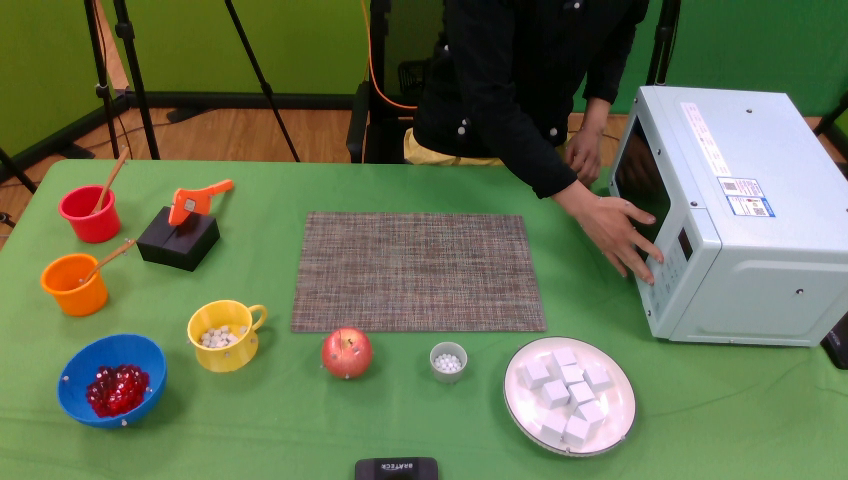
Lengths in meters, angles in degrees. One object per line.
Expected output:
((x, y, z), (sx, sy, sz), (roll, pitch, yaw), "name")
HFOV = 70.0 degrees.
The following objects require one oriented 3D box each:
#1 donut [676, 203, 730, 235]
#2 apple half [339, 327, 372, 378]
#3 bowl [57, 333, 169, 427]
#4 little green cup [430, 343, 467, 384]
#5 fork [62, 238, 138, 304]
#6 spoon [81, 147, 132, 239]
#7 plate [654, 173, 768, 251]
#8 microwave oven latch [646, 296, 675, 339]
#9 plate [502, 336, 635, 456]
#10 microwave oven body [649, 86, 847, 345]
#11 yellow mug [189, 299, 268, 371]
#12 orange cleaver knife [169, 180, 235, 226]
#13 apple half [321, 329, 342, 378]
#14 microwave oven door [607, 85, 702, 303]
((0.537, -0.042, 1.170), (0.099, 0.048, 0.098), (6, 23, -2), "donut")
((-0.111, 0.182, 0.980), (0.053, 0.075, 0.080), (-2, 42, -12), "apple half")
((-0.455, 0.223, 0.912), (0.151, 0.077, 0.150), (3, 45, -2), "bowl")
((0.039, 0.203, 0.993), (0.061, 0.039, 0.061), (2, 46, -2), "little green cup")
((-0.547, 0.053, 1.019), (0.207, 0.019, 0.028), (-36, 41, 23), "fork")
((-0.603, -0.089, 1.156), (0.041, 0.022, 0.193), (28, 95, 19), "spoon")
((0.555, -0.050, 1.187), (0.209, 0.038, 0.208), (1, 46, -1), "plate")
((0.412, 0.134, 1.061), (0.030, 0.029, 0.078), (4, 45, 1), "microwave oven latch")
((0.225, 0.248, 0.963), (0.208, 0.039, 0.206), (2, 46, -2), "plate")
((0.567, -0.053, 1.118), (0.326, 0.261, 0.439), (2, 45, -1), "microwave oven body")
((-0.316, 0.148, 1.002), (0.131, 0.064, 0.099), (-33, 56, -31), "yellow mug")
((-0.435, -0.076, 1.199), (0.012, 0.077, 0.211), (17, 17, 9), "orange cleaver knife")
((-0.149, 0.186, 0.972), (0.033, 0.081, 0.080), (-2, 46, -12), "apple half")
((0.424, -0.094, 1.141), (0.039, 0.245, 0.353), (2, 46, -1), "microwave oven door")
